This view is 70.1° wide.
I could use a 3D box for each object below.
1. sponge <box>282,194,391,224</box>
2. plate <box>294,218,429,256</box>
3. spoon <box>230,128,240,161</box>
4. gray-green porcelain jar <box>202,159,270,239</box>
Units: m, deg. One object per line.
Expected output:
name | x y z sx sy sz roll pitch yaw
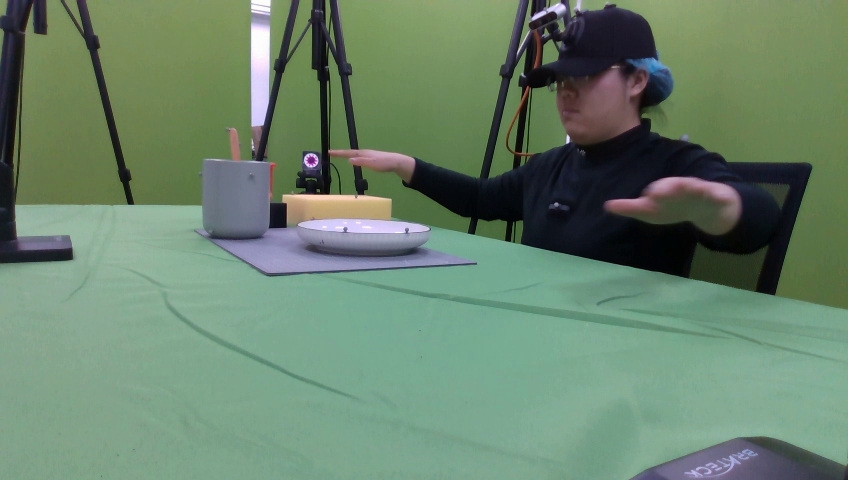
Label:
sponge | -0.187 -0.065 1.306 0.208 0.061 0.117 -4 10 -37
plate | -0.096 -0.005 0.936 0.208 0.039 0.207 3 7 0
spoon | -0.314 -0.109 1.025 0.042 0.193 0.021 -5 -19 -16
gray-green porcelain jar | -0.310 -0.068 0.999 0.106 0.126 0.106 3 8 0
